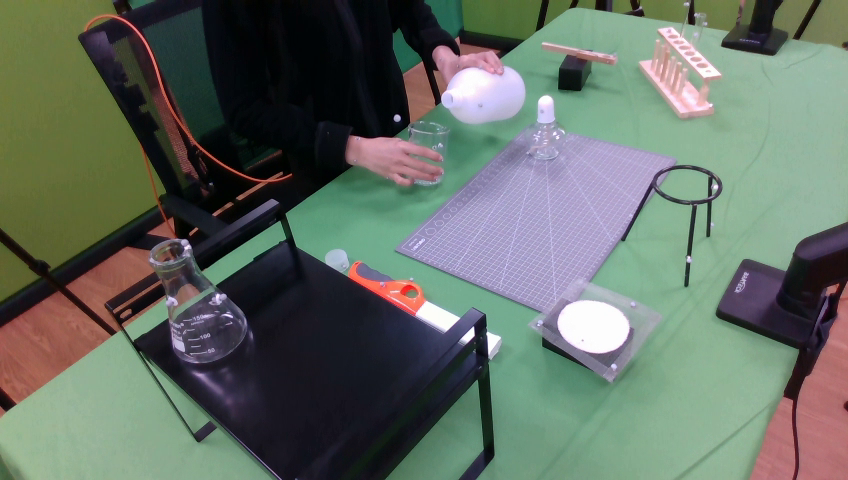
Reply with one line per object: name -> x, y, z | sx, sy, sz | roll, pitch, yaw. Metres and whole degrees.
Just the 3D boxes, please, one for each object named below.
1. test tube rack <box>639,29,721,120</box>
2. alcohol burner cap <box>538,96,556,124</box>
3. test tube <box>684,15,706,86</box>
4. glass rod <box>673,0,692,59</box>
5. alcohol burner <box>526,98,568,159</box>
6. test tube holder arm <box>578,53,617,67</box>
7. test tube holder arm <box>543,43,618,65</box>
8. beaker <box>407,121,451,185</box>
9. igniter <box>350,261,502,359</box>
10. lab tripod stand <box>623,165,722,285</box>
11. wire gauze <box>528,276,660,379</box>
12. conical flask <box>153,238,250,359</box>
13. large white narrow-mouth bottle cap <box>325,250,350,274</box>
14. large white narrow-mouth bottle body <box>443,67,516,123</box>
test tube rack -> 0.527, -0.351, 1.262 | 0.067, 0.085, 0.241 | -8, 40, 1
alcohol burner cap -> 0.222, -0.237, 1.095 | 0.034, 0.048, 0.033 | -7, 34, 5
test tube -> 0.541, -0.378, 1.215 | 0.017, 0.151, 0.017 | -2, 44, 3
glass rod -> 0.537, -0.437, 1.257 | 0.008, 0.200, 0.008 | 0, 39, 1
alcohol burner -> 0.228, -0.210, 1.118 | 0.078, 0.119, 0.077 | -5, 43, 5
test tube holder arm -> 0.375, -0.393, 1.314 | 0.087, 0.015, 0.010 | 26, 51, 32
test tube holder arm -> 0.344, -0.413, 1.340 | 0.177, 0.015, 0.013 | 25, 51, 31
beaker -> 0.009, -0.156, 1.087 | 0.073, 0.100, 0.084 | 23, 31, 30
igniter -> -0.009, 0.094, 0.870 | 0.274, 0.025, 0.057 | 25, 61, 33
lab tripod stand -> 0.365, -0.030, 0.874 | 0.148, 0.132, 0.147 | -6, 41, 6
wire gauze -> 0.213, 0.103, 0.763 | 0.124, 0.011, 0.122 | 30, 52, 35
conical flask -> -0.225, 0.055, 0.597 | 0.075, 0.122, 0.075 | -5, 41, 4
large white narrow-mouth bottle cap -> -0.138, 0.035, 0.966 | 0.038, 0.024, 0.037 | -4, 41, 4
large white narrow-mouth bottle body -> 0.094, -0.268, 1.120 | 0.101, 0.102, 0.196 | 16, 19, 26
